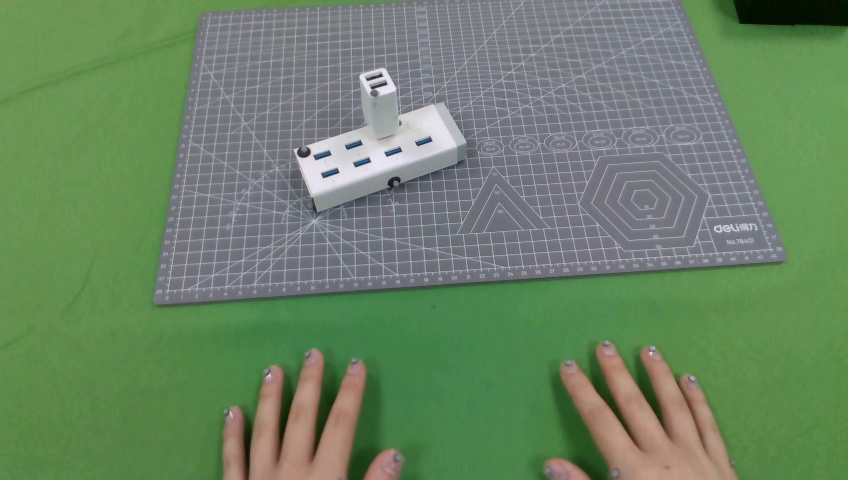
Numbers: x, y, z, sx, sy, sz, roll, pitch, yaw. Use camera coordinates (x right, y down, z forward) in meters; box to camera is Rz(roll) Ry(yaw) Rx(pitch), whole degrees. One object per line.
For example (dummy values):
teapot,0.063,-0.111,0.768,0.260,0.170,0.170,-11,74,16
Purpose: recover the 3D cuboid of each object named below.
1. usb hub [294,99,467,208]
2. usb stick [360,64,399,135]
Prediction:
usb hub,-0.033,-0.069,0.467,0.125,0.025,0.049,-20,62,-11
usb stick,-0.032,-0.098,0.450,0.021,0.059,0.027,-20,59,-12
